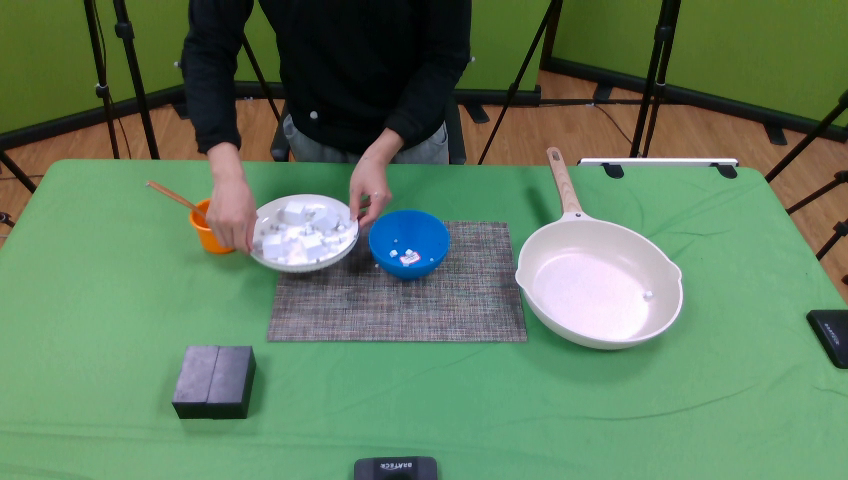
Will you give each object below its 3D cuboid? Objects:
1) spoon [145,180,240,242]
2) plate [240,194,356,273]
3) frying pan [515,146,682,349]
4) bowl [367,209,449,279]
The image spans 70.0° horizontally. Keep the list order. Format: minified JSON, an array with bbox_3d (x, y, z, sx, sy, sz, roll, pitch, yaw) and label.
[{"bbox_3d":[-0.428,-0.055,1.130,0.021,0.195,0.041,-30,35,30],"label":"spoon"},{"bbox_3d":[-0.229,-0.008,1.114,0.208,0.039,0.206,3,41,-2],"label":"plate"},{"bbox_3d":[0.303,-0.004,1.168,0.307,0.103,0.484,-1,55,-7],"label":"frying pan"},{"bbox_3d":[-0.031,0.020,1.132,0.151,0.077,0.150,2,46,-2],"label":"bowl"}]
